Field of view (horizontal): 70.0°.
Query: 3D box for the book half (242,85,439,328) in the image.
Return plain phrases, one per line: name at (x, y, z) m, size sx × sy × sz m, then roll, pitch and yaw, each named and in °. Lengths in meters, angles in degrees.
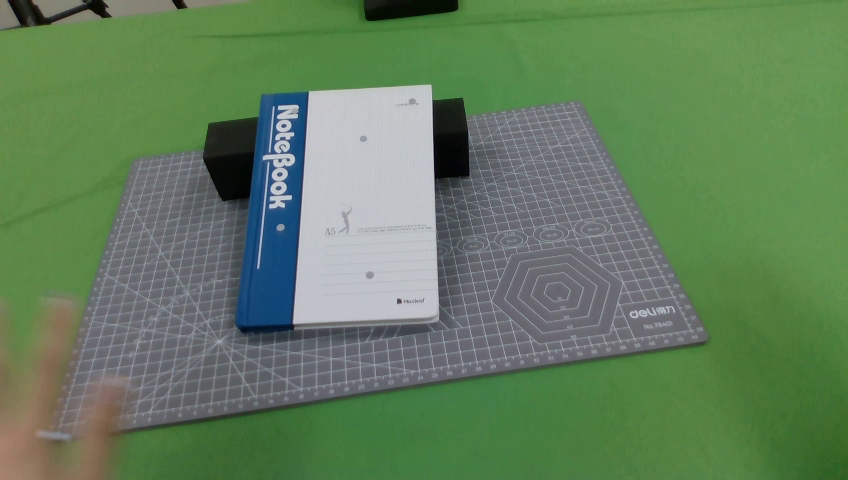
book half at (-0.063, -0.034, 0.476) m, size 0.143 × 0.007 × 0.208 m, roll -3°, pitch 64°, yaw 3°
